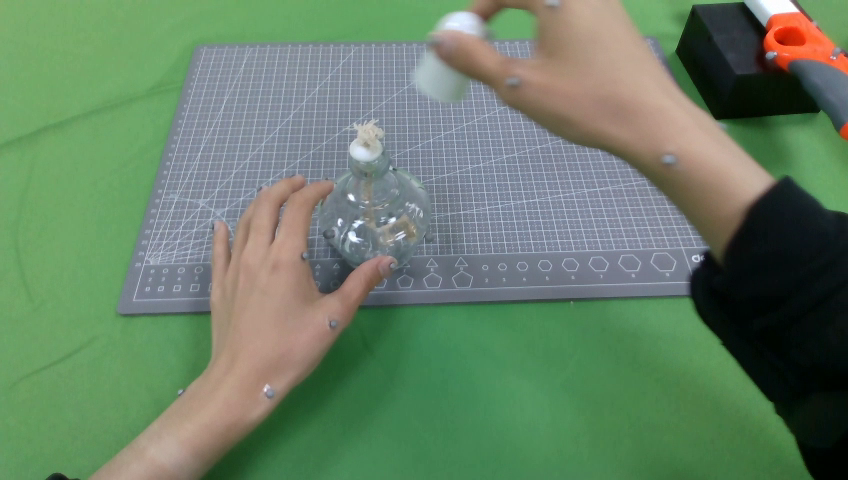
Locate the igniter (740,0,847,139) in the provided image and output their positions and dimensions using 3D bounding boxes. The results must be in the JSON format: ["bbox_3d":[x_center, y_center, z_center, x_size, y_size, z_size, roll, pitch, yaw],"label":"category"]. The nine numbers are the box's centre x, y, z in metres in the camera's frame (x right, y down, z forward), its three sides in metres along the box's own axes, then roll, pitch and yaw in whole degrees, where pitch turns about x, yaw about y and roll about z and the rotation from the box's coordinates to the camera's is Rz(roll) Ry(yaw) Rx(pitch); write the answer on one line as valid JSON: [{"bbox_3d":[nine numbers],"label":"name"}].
[{"bbox_3d":[0.308,-0.180,0.516,0.057,0.025,0.273,-6,52,-2],"label":"igniter"}]

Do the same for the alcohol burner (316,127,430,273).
[{"bbox_3d":[-0.035,-0.031,0.401,0.078,0.120,0.077,0,55,0],"label":"alcohol burner"}]

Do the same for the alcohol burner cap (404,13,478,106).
[{"bbox_3d":[0.011,-0.102,0.333,0.034,0.048,0.033,13,50,-16],"label":"alcohol burner cap"}]
